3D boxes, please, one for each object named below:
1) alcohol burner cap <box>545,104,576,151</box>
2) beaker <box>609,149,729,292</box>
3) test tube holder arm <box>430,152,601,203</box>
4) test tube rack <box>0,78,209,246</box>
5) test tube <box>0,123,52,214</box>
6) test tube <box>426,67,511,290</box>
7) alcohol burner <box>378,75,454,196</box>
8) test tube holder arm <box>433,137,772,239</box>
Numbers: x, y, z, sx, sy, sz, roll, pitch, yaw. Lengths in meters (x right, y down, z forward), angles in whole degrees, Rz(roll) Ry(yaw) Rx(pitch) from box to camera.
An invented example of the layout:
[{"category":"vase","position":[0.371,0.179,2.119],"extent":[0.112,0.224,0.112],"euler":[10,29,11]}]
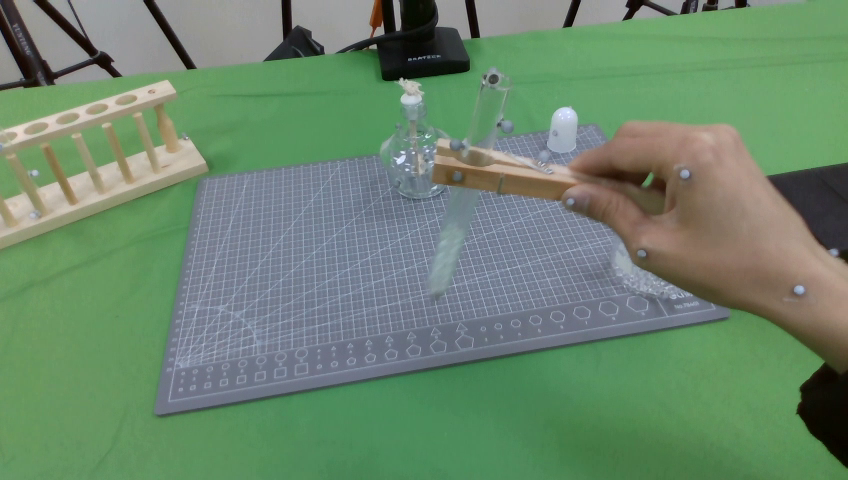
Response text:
[{"category":"alcohol burner cap","position":[0.149,-0.125,0.657],"extent":[0.034,0.048,0.033],"euler":[-2,43,2]},{"category":"beaker","position":[0.190,-0.014,0.492],"extent":[0.074,0.101,0.083],"euler":[-30,48,-25]},{"category":"test tube holder arm","position":[0.047,-0.032,0.314],"extent":[0.088,0.015,0.010],"euler":[7,46,-4]},{"category":"test tube rack","position":[-0.359,-0.079,0.619],"extent":[0.242,0.086,0.066],"euler":[-26,47,-22]},{"category":"test tube","position":[-0.389,-0.085,0.563],"extent":[0.017,0.152,0.017],"euler":[-3,41,3]},{"category":"test tube","position":[0.021,-0.024,0.331],"extent":[0.017,0.151,0.017],"euler":[7,44,-7]},{"category":"alcohol burner","position":[-0.009,-0.104,0.594],"extent":[0.078,0.120,0.077],"euler":[-3,41,3]},{"category":"test tube holder arm","position":[0.092,-0.027,0.318],"extent":[0.178,0.015,0.013],"euler":[13,47,1]}]
